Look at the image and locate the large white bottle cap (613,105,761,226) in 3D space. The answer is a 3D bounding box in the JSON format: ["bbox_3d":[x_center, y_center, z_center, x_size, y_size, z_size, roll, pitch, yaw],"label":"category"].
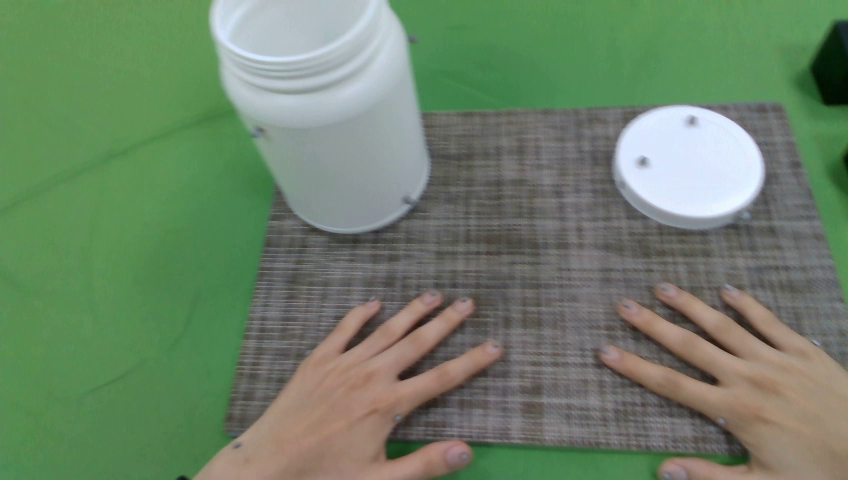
[{"bbox_3d":[0.217,-0.064,0.503,0.115,0.018,0.114,-2,60,5],"label":"large white bottle cap"}]

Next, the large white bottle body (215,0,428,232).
[{"bbox_3d":[-0.070,-0.105,0.462,0.130,0.186,0.129,-3,59,5],"label":"large white bottle body"}]
